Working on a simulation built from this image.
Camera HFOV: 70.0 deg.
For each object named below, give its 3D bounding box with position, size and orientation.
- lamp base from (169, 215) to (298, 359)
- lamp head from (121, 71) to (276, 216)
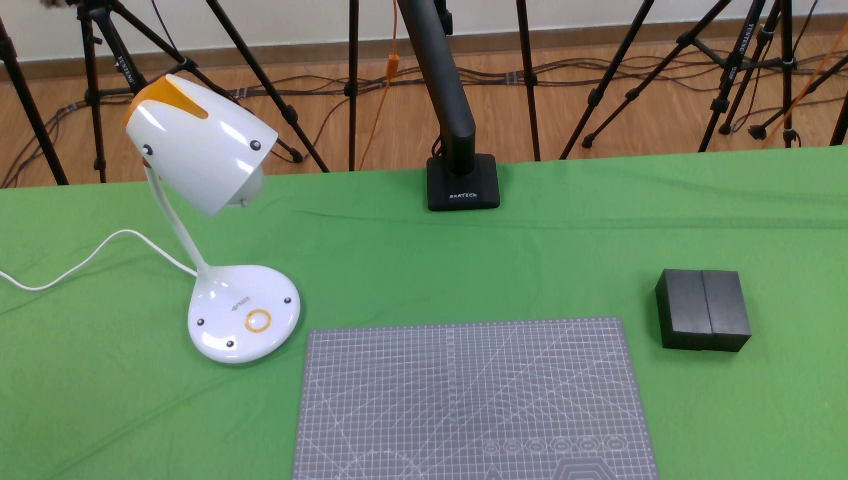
[{"bbox_3d":[-0.281,0.051,0.830,0.178,0.182,0.160,25,60,23],"label":"lamp base"},{"bbox_3d":[-0.225,-0.100,0.588,0.124,0.112,0.112,37,56,-18],"label":"lamp head"}]
